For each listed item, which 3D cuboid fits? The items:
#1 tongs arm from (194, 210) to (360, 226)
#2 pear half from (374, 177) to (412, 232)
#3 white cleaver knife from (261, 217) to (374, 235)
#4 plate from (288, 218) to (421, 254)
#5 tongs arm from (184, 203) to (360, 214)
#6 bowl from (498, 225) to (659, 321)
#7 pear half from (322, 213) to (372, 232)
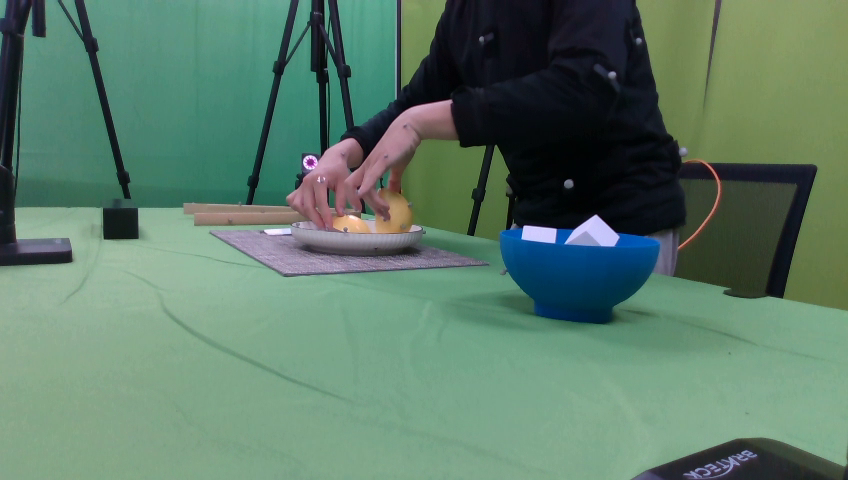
[{"bbox_3d":[-0.298,-0.049,1.307,0.390,0.028,0.028,-3,8,-38],"label":"tongs arm"},{"bbox_3d":[-0.048,-0.049,0.911,0.056,0.110,0.076,-3,42,3],"label":"pear half"},{"bbox_3d":[-0.168,-0.023,1.155,0.288,0.021,0.065,-7,16,-33],"label":"white cleaver knife"},{"bbox_3d":[-0.109,-0.007,0.957,0.208,0.039,0.207,2,7,0],"label":"plate"},{"bbox_3d":[-0.337,-0.065,1.376,0.387,0.026,0.050,0,9,-25],"label":"tongs arm"},{"bbox_3d":[0.145,0.032,0.585,0.151,0.077,0.151,2,7,0],"label":"bowl"},{"bbox_3d":[-0.125,-0.030,1.008,0.088,0.031,0.070,23,2,7],"label":"pear half"}]
